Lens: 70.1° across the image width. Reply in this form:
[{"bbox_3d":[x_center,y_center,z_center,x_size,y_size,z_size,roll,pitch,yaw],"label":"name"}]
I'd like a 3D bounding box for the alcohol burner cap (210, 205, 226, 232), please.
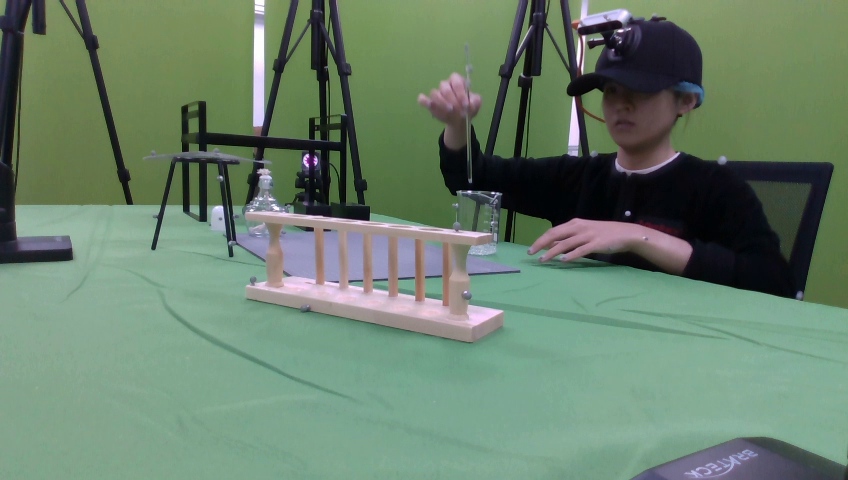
[{"bbox_3d":[-0.376,-0.040,1.107,0.034,0.048,0.034,2,7,0],"label":"alcohol burner cap"}]

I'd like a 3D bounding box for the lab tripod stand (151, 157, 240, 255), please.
[{"bbox_3d":[-0.310,-0.052,0.866,0.148,0.131,0.148,2,6,0],"label":"lab tripod stand"}]

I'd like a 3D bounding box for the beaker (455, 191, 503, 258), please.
[{"bbox_3d":[0.087,-0.025,0.955,0.074,0.100,0.083,-1,9,-25],"label":"beaker"}]

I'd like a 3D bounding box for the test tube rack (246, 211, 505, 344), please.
[{"bbox_3d":[-0.049,0.025,0.547,0.241,0.085,0.067,7,8,29],"label":"test tube rack"}]

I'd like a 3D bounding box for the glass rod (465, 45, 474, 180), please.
[{"bbox_3d":[0.070,-0.190,0.910,0.008,0.199,0.008,-3,8,1],"label":"glass rod"}]

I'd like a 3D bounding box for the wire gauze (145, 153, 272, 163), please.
[{"bbox_3d":[-0.303,-0.117,0.854,0.121,0.011,0.126,7,8,34],"label":"wire gauze"}]

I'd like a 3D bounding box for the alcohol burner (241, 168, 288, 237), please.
[{"bbox_3d":[-0.272,-0.064,1.036,0.078,0.119,0.078,4,5,0],"label":"alcohol burner"}]
